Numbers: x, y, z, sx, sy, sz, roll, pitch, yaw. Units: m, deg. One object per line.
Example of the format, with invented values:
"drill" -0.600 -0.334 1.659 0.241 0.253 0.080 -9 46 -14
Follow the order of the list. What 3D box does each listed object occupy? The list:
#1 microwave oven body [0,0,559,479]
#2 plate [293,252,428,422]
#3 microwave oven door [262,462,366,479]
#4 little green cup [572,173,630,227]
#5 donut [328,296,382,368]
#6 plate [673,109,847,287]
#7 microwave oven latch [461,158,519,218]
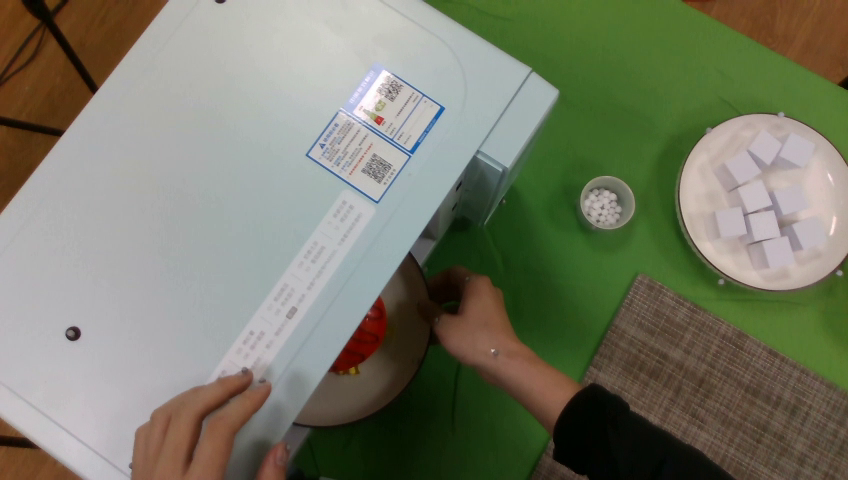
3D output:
"microwave oven body" -0.147 -0.016 0.572 0.325 0.261 0.441 34 83 4
"plate" -0.101 0.074 0.605 0.209 0.038 0.208 0 85 -4
"microwave oven door" 0.018 0.270 0.523 0.356 0.244 0.039 12 81 1
"little green cup" 0.201 -0.043 0.695 0.061 0.039 0.061 0 83 0
"donut" -0.090 0.075 0.593 0.099 0.048 0.099 0 90 -7
"plate" 0.387 -0.047 0.699 0.208 0.039 0.207 0 81 0
"microwave oven latch" 0.074 -0.064 0.679 0.030 0.029 0.079 37 83 5
